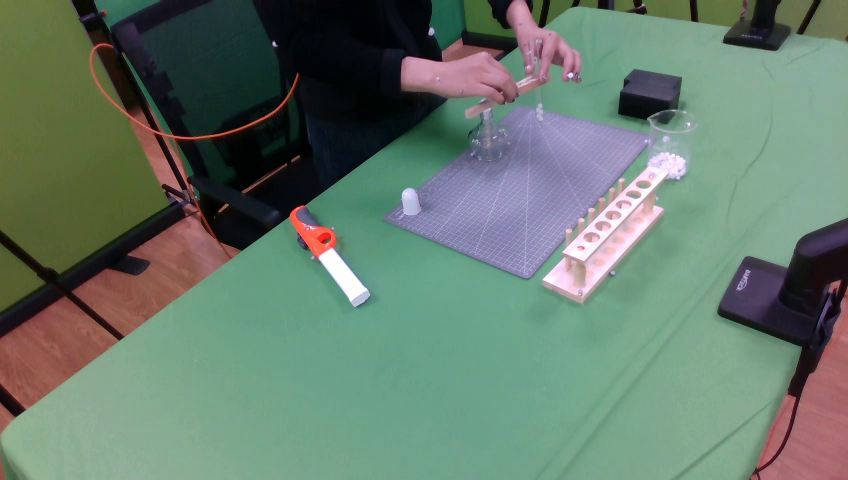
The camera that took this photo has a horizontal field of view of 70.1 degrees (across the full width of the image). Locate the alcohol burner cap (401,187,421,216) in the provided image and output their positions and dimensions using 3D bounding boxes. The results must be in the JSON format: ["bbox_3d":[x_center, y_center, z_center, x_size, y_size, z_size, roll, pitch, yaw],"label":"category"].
[{"bbox_3d":[-0.025,-0.070,1.048,0.034,0.048,0.033,-5,41,5],"label":"alcohol burner cap"}]

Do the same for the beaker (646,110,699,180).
[{"bbox_3d":[0.417,-0.160,1.032,0.083,0.101,0.074,25,51,35],"label":"beaker"}]

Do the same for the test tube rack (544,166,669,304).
[{"bbox_3d":[0.274,-0.018,0.903,0.066,0.085,0.243,26,51,35],"label":"test tube rack"}]

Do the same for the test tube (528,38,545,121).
[{"bbox_3d":[0.192,-0.269,1.027,0.017,0.151,0.017,-9,39,8],"label":"test tube"}]

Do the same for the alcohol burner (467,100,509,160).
[{"bbox_3d":[0.118,-0.210,1.130,0.078,0.120,0.077,-6,42,6],"label":"alcohol burner"}]

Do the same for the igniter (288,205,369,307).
[{"bbox_3d":[-0.163,0.018,0.986,0.057,0.025,0.274,-33,45,-12],"label":"igniter"}]

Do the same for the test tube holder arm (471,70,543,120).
[{"bbox_3d":[0.139,-0.240,0.997,0.179,0.015,0.013,-35,51,-29],"label":"test tube holder arm"}]

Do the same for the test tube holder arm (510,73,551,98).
[{"bbox_3d":[0.177,-0.259,1.014,0.088,0.015,0.010,-26,48,-21],"label":"test tube holder arm"}]
